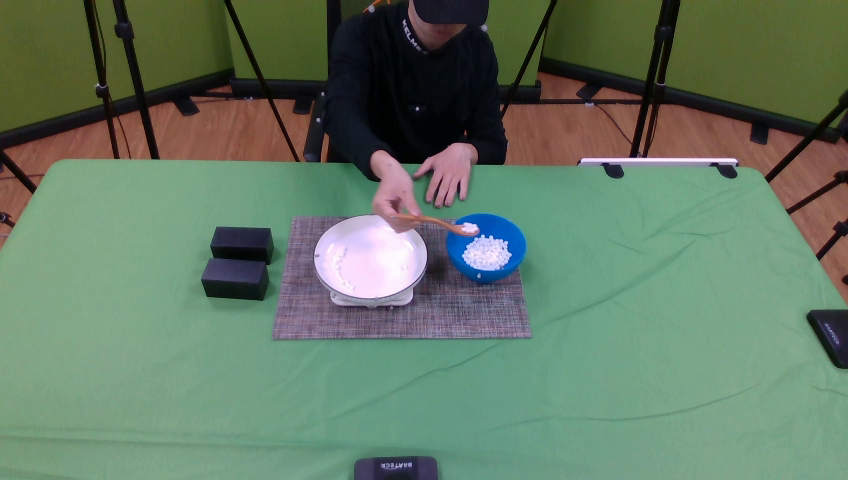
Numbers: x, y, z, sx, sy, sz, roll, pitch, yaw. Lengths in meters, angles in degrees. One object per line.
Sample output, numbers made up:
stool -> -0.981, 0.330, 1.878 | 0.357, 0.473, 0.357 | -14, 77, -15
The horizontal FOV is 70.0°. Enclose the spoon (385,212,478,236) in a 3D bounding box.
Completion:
spoon -> 0.015, -0.031, 1.049 | 0.194, 0.021, 0.041 | 13, 22, -36

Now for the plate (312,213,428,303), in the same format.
plate -> -0.097, 0.036, 1.100 | 0.209, 0.038, 0.208 | 2, 46, -2

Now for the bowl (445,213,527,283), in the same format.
bowl -> 0.111, 0.028, 1.137 | 0.151, 0.077, 0.150 | 2, 46, -2

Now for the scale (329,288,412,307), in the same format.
scale -> -0.098, 0.042, 1.139 | 0.149, 0.032, 0.199 | 1, 46, -4
